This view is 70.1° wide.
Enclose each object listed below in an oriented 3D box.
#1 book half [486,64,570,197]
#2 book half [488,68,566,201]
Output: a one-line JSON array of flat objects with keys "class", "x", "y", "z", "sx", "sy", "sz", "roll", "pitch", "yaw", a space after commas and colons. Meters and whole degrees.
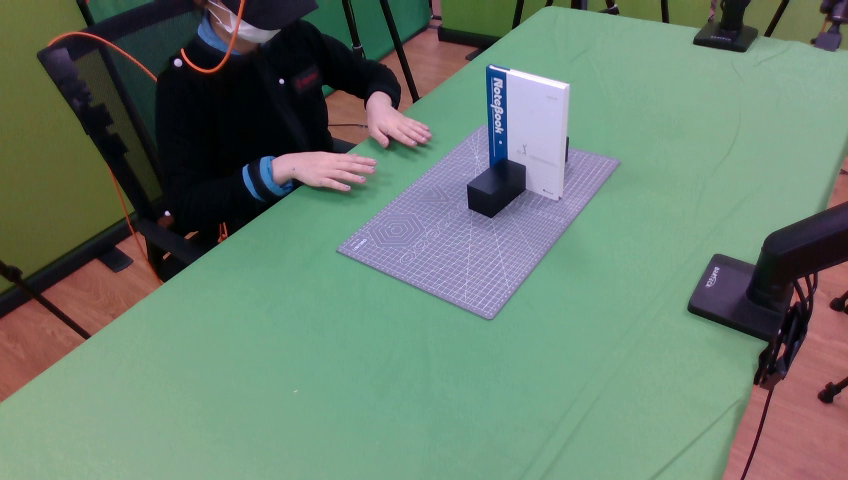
[{"class": "book half", "x": 0.170, "y": -0.176, "z": 1.000, "sx": 0.147, "sy": 0.211, "sz": 0.016, "roll": 26, "pitch": 51, "yaw": 33}, {"class": "book half", "x": 0.167, "y": -0.171, "z": 0.995, "sx": 0.142, "sy": 0.211, "sz": 0.007, "roll": 27, "pitch": 52, "yaw": 34}]
